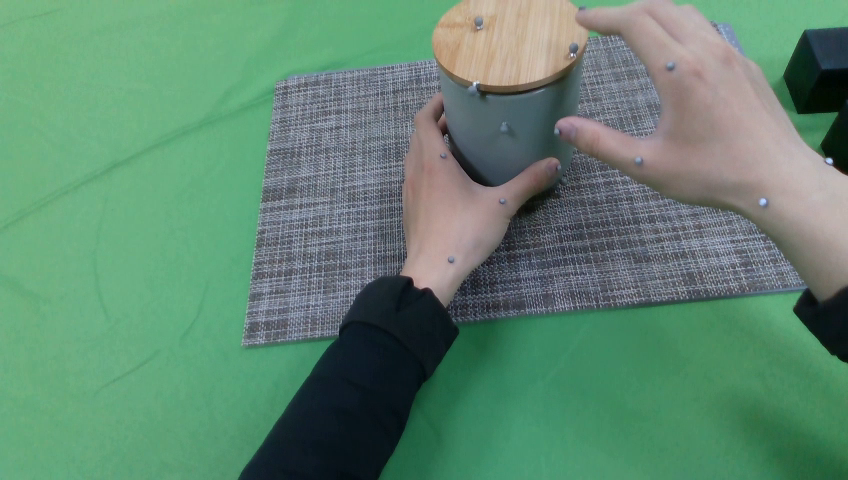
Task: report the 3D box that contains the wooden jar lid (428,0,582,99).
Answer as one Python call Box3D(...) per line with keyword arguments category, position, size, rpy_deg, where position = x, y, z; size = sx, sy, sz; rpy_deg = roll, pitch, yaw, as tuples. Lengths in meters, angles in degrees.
Box3D(category="wooden jar lid", position=(0.057, -0.135, 0.432), size=(0.108, 0.021, 0.107), rpy_deg=(-4, 55, 6))

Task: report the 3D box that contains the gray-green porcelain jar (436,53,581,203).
Box3D(category="gray-green porcelain jar", position=(0.067, -0.100, 0.485), size=(0.106, 0.128, 0.105), rpy_deg=(-4, 56, 6))
